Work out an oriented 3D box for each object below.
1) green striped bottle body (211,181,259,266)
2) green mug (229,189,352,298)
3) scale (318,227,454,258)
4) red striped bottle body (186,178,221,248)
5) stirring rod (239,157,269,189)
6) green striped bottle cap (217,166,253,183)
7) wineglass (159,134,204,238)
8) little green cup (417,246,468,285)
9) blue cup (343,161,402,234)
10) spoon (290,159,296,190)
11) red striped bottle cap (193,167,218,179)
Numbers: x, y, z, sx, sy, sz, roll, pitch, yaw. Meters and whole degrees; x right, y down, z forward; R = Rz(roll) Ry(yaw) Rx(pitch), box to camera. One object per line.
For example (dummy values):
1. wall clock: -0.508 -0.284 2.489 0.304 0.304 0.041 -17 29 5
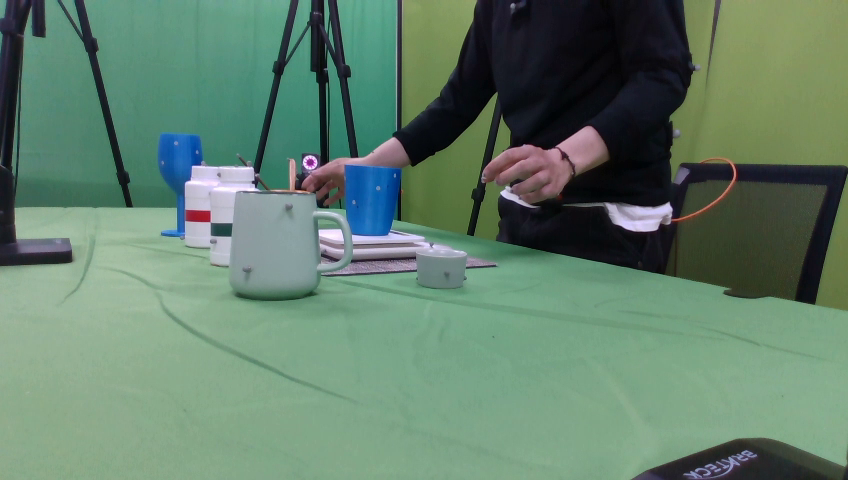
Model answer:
1. green striped bottle body: -0.243 -0.029 0.784 0.063 0.119 0.063 2 7 0
2. green mug: -0.135 0.002 0.618 0.125 0.105 0.092 2 7 4
3. scale: -0.067 0.001 0.906 0.202 0.031 0.148 -2 8 -31
4. red striped bottle body: -0.331 -0.050 0.927 0.063 0.119 0.063 2 6 0
5. stirring rod: -0.309 -0.098 1.209 0.006 0.177 0.014 -39 29 -4
6. green striped bottle cap: -0.242 -0.084 0.777 0.044 0.020 0.044 2 8 0
7. wineglass: -0.415 -0.093 1.040 0.074 0.172 0.073 2 7 0
8. little green cup: 0.021 0.029 0.701 0.061 0.038 0.061 0 6 0
9. blue cup: -0.078 -0.062 0.884 0.093 0.100 0.092 4 6 0
10. spoon: -0.273 -0.102 1.252 0.042 0.193 0.021 7 -39 -18
11. red striped bottle cap: -0.329 -0.103 0.921 0.044 0.017 0.044 0 8 0
